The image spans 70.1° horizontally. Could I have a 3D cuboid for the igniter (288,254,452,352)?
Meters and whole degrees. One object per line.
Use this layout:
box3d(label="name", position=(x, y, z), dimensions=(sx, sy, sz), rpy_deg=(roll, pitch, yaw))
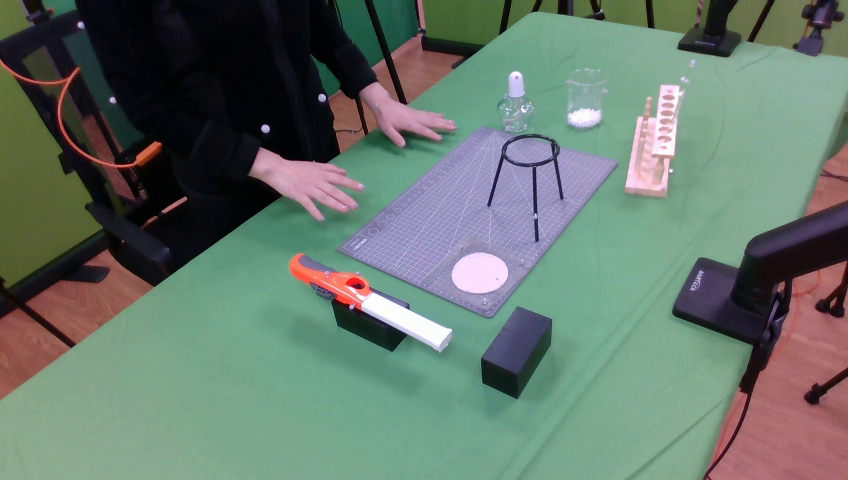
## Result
box3d(label="igniter", position=(-0.083, 0.079, 0.818), dimensions=(0.274, 0.025, 0.057), rpy_deg=(23, 46, 27))

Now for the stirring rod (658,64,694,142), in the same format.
box3d(label="stirring rod", position=(0.409, -0.213, 1.000), dimensions=(0.006, 0.176, 0.014), rpy_deg=(36, 57, 24))

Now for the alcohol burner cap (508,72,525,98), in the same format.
box3d(label="alcohol burner cap", position=(0.181, -0.306, 1.186), dimensions=(0.034, 0.048, 0.033), rpy_deg=(-7, 39, 6))

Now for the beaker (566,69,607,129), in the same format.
box3d(label="beaker", position=(0.322, -0.280, 1.202), dimensions=(0.073, 0.101, 0.084), rpy_deg=(11, 43, 20))

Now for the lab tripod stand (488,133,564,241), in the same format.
box3d(label="lab tripod stand", position=(0.168, -0.093, 0.972), dimensions=(0.148, 0.132, 0.147), rpy_deg=(-5, 41, 5))

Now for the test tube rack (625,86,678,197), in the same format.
box3d(label="test tube rack", position=(0.412, -0.184, 1.088), dimensions=(0.066, 0.085, 0.242), rpy_deg=(9, 43, 18))

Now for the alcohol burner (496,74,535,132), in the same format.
box3d(label="alcohol burner", position=(0.183, -0.278, 1.209), dimensions=(0.078, 0.119, 0.077), rpy_deg=(-3, 43, 3))

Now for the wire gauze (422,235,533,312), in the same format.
box3d(label="wire gauze", position=(0.081, 0.049, 0.914), dimensions=(0.120, 0.011, 0.125), rpy_deg=(26, 52, 32))
